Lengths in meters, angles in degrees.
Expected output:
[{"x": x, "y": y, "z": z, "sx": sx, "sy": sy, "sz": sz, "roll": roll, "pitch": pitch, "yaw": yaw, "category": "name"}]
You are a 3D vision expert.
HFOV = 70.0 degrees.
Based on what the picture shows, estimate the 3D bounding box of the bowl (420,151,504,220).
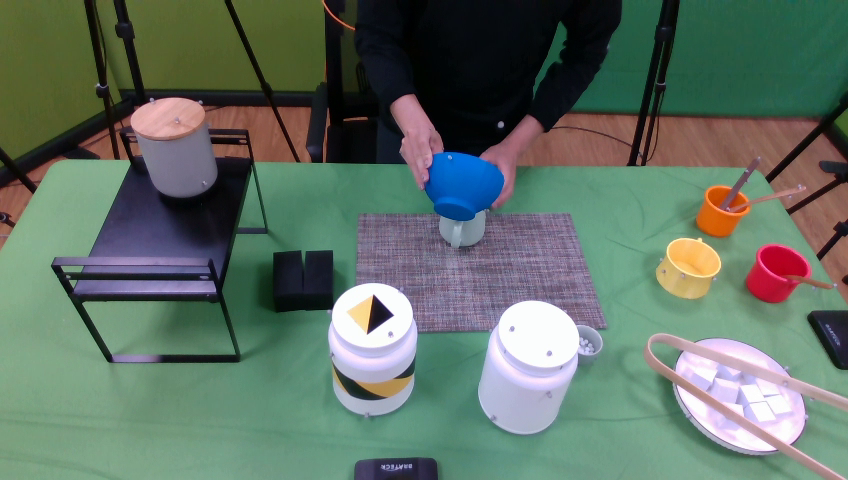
[{"x": 0.058, "y": -0.084, "z": 1.054, "sx": 0.151, "sy": 0.152, "sz": 0.076, "roll": 11, "pitch": 71, "yaw": 6, "category": "bowl"}]

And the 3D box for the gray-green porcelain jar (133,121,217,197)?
[{"x": -0.397, "y": -0.141, "z": 0.980, "sx": 0.106, "sy": 0.127, "sz": 0.105, "roll": 2, "pitch": 47, "yaw": -2, "category": "gray-green porcelain jar"}]

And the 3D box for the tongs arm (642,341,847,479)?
[{"x": 0.504, "y": 0.278, "z": 0.918, "sx": 0.386, "sy": 0.028, "sz": 0.028, "roll": 34, "pitch": 59, "yaw": 22, "category": "tongs arm"}]

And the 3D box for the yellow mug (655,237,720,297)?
[{"x": 0.509, "y": 0.041, "z": 1.167, "sx": 0.099, "sy": 0.064, "sz": 0.130, "roll": 24, "pitch": 48, "yaw": 18, "category": "yellow mug"}]

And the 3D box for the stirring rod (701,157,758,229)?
[{"x": 0.634, "y": -0.096, "z": 1.257, "sx": 0.014, "sy": 0.006, "sz": 0.176, "roll": 38, "pitch": 97, "yaw": 30, "category": "stirring rod"}]

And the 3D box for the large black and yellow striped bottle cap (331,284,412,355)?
[{"x": -0.073, "y": 0.110, "z": 0.858, "sx": 0.115, "sy": 0.019, "sz": 0.114, "roll": 2, "pitch": 46, "yaw": -2, "category": "large black and yellow striped bottle cap"}]

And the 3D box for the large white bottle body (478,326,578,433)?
[{"x": 0.156, "y": 0.192, "z": 0.913, "sx": 0.131, "sy": 0.185, "sz": 0.130, "roll": 2, "pitch": 46, "yaw": -2, "category": "large white bottle body"}]

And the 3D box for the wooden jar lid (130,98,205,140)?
[{"x": -0.393, "y": -0.183, "z": 0.934, "sx": 0.108, "sy": 0.021, "sz": 0.107, "roll": 3, "pitch": 43, "yaw": -2, "category": "wooden jar lid"}]

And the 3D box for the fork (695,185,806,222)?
[{"x": 0.658, "y": -0.074, "z": 1.230, "sx": 0.207, "sy": 0.019, "sz": 0.028, "roll": -23, "pitch": 36, "yaw": 37, "category": "fork"}]

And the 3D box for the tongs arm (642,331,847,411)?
[{"x": 0.546, "y": 0.227, "z": 0.968, "sx": 0.384, "sy": 0.026, "sz": 0.050, "roll": 22, "pitch": 52, "yaw": 13, "category": "tongs arm"}]

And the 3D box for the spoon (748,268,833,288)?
[{"x": 0.660, "y": 0.068, "z": 1.097, "sx": 0.041, "sy": 0.193, "sz": 0.021, "roll": -4, "pitch": 91, "yaw": -6, "category": "spoon"}]

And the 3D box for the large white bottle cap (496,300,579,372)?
[{"x": 0.160, "y": 0.133, "z": 0.852, "sx": 0.115, "sy": 0.018, "sz": 0.114, "roll": 3, "pitch": 46, "yaw": -3, "category": "large white bottle cap"}]

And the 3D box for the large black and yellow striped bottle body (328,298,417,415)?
[{"x": -0.078, "y": 0.167, "z": 0.920, "sx": 0.131, "sy": 0.185, "sz": 0.130, "roll": 2, "pitch": 46, "yaw": -2, "category": "large black and yellow striped bottle body"}]

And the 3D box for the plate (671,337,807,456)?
[{"x": 0.504, "y": 0.254, "z": 0.984, "sx": 0.208, "sy": 0.039, "sz": 0.206, "roll": 2, "pitch": 46, "yaw": -2, "category": "plate"}]

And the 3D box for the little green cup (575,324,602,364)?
[{"x": 0.269, "y": 0.180, "z": 1.036, "sx": 0.061, "sy": 0.039, "sz": 0.061, "roll": 2, "pitch": 45, "yaw": -2, "category": "little green cup"}]

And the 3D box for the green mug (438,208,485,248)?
[{"x": 0.071, "y": -0.039, "z": 1.178, "sx": 0.092, "sy": 0.105, "sz": 0.124, "roll": 12, "pitch": 47, "yaw": 7, "category": "green mug"}]
